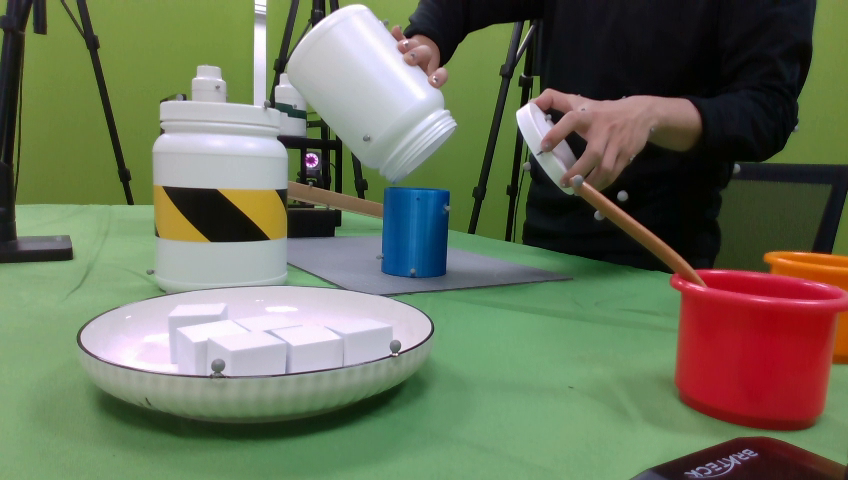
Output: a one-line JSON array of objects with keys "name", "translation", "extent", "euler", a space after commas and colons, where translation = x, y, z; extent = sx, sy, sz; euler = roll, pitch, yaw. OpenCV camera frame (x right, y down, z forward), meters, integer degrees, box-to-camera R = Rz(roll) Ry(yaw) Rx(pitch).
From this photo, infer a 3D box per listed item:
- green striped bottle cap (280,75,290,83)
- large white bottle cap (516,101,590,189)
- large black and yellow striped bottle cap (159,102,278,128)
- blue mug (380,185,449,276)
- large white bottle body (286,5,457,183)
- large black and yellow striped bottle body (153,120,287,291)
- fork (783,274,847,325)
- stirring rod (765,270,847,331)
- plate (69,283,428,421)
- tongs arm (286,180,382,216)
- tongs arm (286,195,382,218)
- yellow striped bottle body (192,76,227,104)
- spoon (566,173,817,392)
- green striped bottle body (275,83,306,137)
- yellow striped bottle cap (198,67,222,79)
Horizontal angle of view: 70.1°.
[{"name": "green striped bottle cap", "translation": [-0.267, -0.320, 1.216], "extent": [0.044, 0.020, 0.044], "euler": [3, 9, 0]}, {"name": "large white bottle cap", "translation": [0.147, -0.108, 0.687], "extent": [0.018, 0.114, 0.115], "euler": [-38, -13, 27]}, {"name": "large black and yellow striped bottle cap", "translation": [-0.207, -0.125, 0.615], "extent": [0.115, 0.019, 0.115], "euler": [2, 6, 0]}, {"name": "blue mug", "translation": [-0.018, -0.016, 0.764], "extent": [0.083, 0.106, 0.116], "euler": [-1, 8, -25]}, {"name": "large white bottle body", "translation": [-0.060, -0.172, 0.733], "extent": [0.130, 0.184, 0.130], "euler": [-41, 0, 1]}, {"name": "large black and yellow striped bottle body", "translation": [-0.208, -0.042, 0.626], "extent": [0.131, 0.184, 0.130], "euler": [2, 7, 0]}, {"name": "fork", "translation": [0.332, 0.018, 0.443], "extent": [0.028, 0.018, 0.207], "euler": [-1, -36, -15]}, {"name": "stirring rod", "translation": [0.352, 0.020, 0.484], "extent": [0.176, 0.006, 0.014], "euler": [-40, -7, 12]}, {"name": "plate", "translation": [-0.102, 0.066, 0.381], "extent": [0.208, 0.039, 0.207], "euler": [2, 7, 0]}, {"name": "tongs arm", "translation": [-0.122, -0.066, 1.147], "extent": [0.387, 0.026, 0.050], "euler": [11, -3, -37]}, {"name": "tongs arm", "translation": [-0.165, -0.074, 1.216], "extent": [0.389, 0.027, 0.028], "euler": [11, -6, -24]}, {"name": "yellow striped bottle body", "translation": [-0.414, -0.268, 1.169], "extent": [0.063, 0.120, 0.063], "euler": [2, 7, 0]}, {"name": "spoon", "translation": [0.161, 0.024, 0.370], "extent": [0.193, 0.021, 0.042], "euler": [47, 18, 3]}, {"name": "green striped bottle body", "translation": [-0.269, -0.269, 1.221], "extent": [0.063, 0.119, 0.063], "euler": [2, 7, 0]}, {"name": "yellow striped bottle cap", "translation": [-0.412, -0.320, 1.162], "extent": [0.044, 0.018, 0.044], "euler": [0, 5, 0]}]
